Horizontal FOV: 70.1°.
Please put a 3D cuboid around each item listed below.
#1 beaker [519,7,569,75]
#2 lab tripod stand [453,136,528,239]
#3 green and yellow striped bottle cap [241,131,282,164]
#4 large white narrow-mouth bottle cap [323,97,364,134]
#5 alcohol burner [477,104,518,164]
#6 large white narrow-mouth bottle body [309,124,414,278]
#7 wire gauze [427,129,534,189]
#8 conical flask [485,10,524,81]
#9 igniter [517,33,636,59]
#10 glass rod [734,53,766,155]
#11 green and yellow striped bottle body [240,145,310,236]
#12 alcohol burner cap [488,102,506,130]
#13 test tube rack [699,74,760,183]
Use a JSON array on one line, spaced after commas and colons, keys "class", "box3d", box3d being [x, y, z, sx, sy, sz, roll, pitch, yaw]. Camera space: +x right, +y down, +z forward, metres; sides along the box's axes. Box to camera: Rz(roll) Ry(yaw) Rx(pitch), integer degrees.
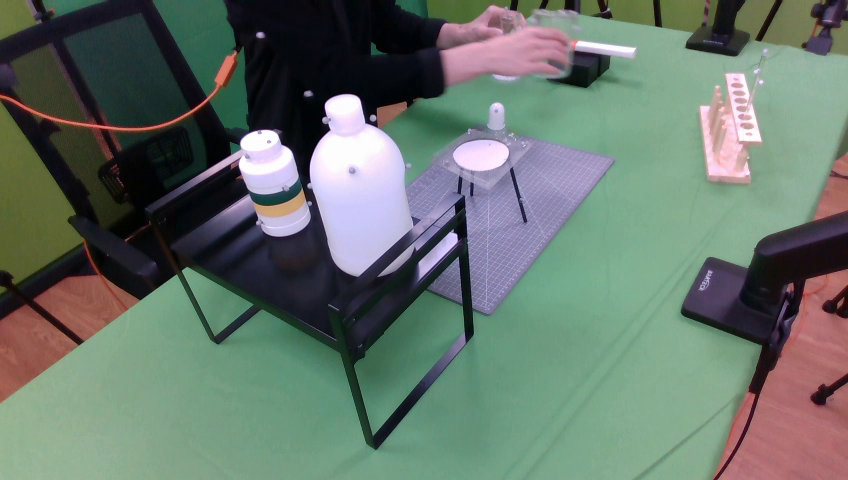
[{"class": "beaker", "box3d": [0.195, -0.329, 0.998, 0.074, 0.100, 0.083, 2, 27, 2]}, {"class": "lab tripod stand", "box3d": [0.095, -0.086, 0.974, 0.148, 0.132, 0.147, -4, 43, 4]}, {"class": "green and yellow striped bottle cap", "box3d": [-0.187, -0.107, 0.695, 0.045, 0.020, 0.045, -3, 39, 3]}, {"class": "large white narrow-mouth bottle cap", "box3d": [-0.077, -0.121, 0.584, 0.038, 0.024, 0.037, -4, 42, 4]}, {"class": "alcohol burner", "box3d": [0.135, -0.200, 1.117, 0.078, 0.119, 0.077, -4, 43, 4]}, {"class": "large white narrow-mouth bottle body", "box3d": [-0.068, -0.057, 0.645, 0.102, 0.195, 0.101, -4, 42, 4]}, {"class": "wire gauze", "box3d": [0.086, -0.131, 0.924, 0.124, 0.011, 0.122, 26, 52, 33]}, {"class": "conical flask", "box3d": [0.156, -0.371, 1.149, 0.075, 0.122, 0.075, -1, 44, 1]}, {"class": "igniter", "box3d": [0.336, -0.441, 1.369, 0.275, 0.025, 0.057, 16, 41, 23]}, {"class": "glass rod", "box3d": [0.540, -0.219, 1.006, 0.008, 0.201, 0.008, -5, 45, 6]}, {"class": "green and yellow striped bottle body", "box3d": [-0.181, -0.069, 0.729, 0.063, 0.120, 0.063, -4, 40, 4]}, {"class": "alcohol burner cap", "box3d": [0.133, -0.227, 1.092, 0.034, 0.048, 0.033, -1, 47, 2]}, {"class": "test tube rack", "box3d": [0.547, -0.208, 1.095, 0.066, 0.085, 0.242, 6, 42, 16]}]
